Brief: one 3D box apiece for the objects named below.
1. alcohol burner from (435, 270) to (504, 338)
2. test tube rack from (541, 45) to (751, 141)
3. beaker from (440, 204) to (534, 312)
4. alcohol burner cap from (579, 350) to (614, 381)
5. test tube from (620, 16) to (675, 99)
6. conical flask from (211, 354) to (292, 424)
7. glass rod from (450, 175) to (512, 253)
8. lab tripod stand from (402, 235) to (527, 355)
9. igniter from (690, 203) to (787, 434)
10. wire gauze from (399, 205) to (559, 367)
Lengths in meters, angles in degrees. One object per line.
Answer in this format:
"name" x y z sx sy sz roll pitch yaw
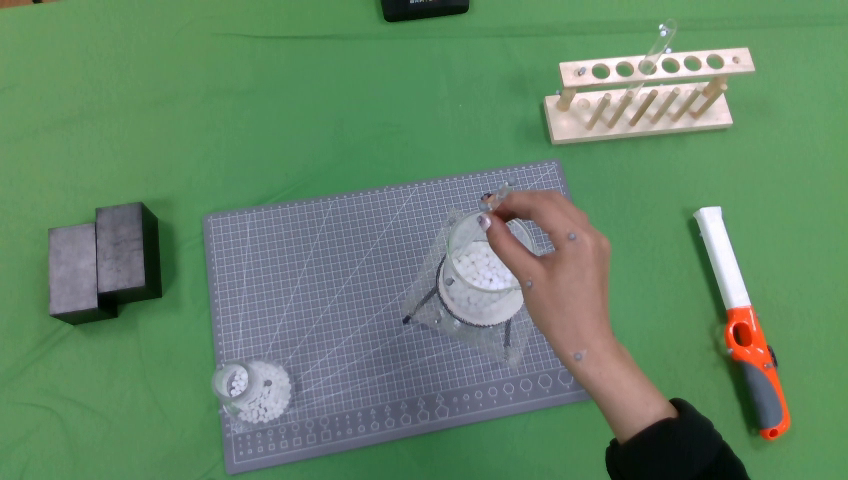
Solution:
"alcohol burner" 0.051 0.066 0.657 0.078 0.119 0.077 0 73 -1
"test tube rack" 0.282 -0.186 0.772 0.243 0.085 0.066 -6 72 -5
"beaker" 0.053 0.023 0.541 0.083 0.101 0.074 38 74 9
"alcohol burner cap" 0.196 0.138 0.679 0.034 0.048 0.033 1 70 -3
"test tube" 0.265 -0.214 0.728 0.017 0.151 0.017 0 71 0
"conical flask" -0.179 0.145 0.612 0.075 0.122 0.075 1 71 -3
"glass rod" 0.042 -0.016 0.490 0.008 0.200 0.008 2 75 -8
"lab tripod stand" 0.049 0.060 0.649 0.148 0.132 0.147 1 73 -2
"igniter" 0.371 0.086 0.718 0.057 0.025 0.274 -4 72 -16
"wire gauze" 0.055 0.040 0.586 0.125 0.011 0.121 26 75 4
